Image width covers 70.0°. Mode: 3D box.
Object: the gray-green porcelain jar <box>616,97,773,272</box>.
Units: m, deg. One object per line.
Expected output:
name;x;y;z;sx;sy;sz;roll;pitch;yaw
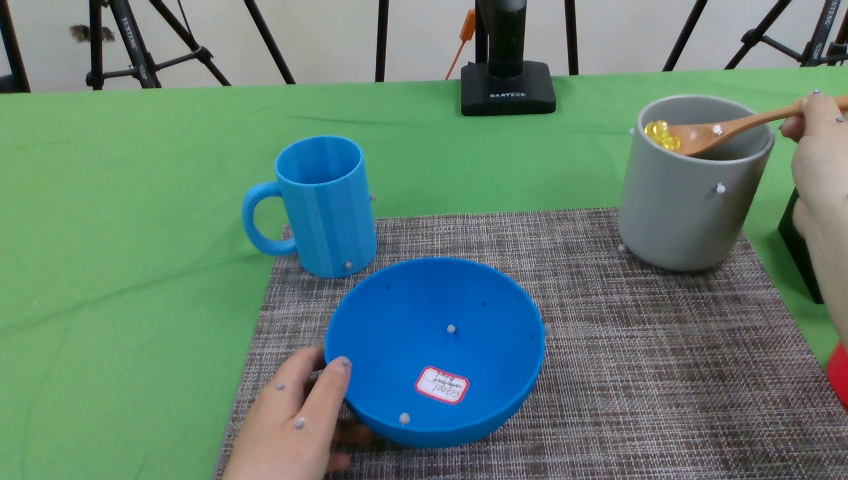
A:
gray-green porcelain jar;0.228;-0.043;0.530;0.106;0.128;0.105;-2;42;2

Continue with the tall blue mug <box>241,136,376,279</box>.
tall blue mug;-0.099;-0.021;0.544;0.107;0.109;0.077;-34;51;-29

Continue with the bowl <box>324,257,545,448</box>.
bowl;0.009;0.091;0.435;0.151;0.077;0.150;-2;42;2

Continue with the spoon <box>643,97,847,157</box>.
spoon;0.269;-0.092;0.466;0.193;0.022;0.041;-10;41;25

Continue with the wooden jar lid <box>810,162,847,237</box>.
wooden jar lid;0.385;-0.028;0.511;0.108;0.021;0.107;-3;42;3
